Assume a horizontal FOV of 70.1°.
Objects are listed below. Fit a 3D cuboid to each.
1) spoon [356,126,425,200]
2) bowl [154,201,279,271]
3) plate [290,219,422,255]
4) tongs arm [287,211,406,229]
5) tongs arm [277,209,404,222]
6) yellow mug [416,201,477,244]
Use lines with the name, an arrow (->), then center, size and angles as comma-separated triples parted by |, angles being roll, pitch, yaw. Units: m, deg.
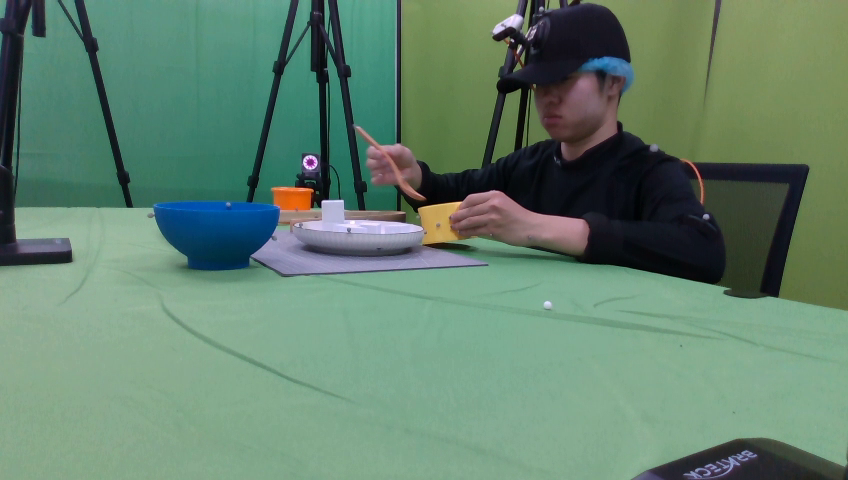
spoon -> -0.062, -0.138, 1.073 | 0.193, 0.021, 0.042 | 53, 19, 18
bowl -> -0.263, -0.005, 0.773 | 0.151, 0.077, 0.151 | 3, 8, 0
plate -> -0.107, -0.005, 0.963 | 0.208, 0.039, 0.207 | 2, 7, 0
tongs arm -> -0.145, -0.043, 1.278 | 0.028, 0.028, 0.389 | 1, 4, 33
tongs arm -> -0.205, -0.053, 1.331 | 0.387, 0.026, 0.050 | -2, 6, -44
yellow mug -> 0.048, -0.031, 1.042 | 0.100, 0.064, 0.130 | -8, 1, -31
